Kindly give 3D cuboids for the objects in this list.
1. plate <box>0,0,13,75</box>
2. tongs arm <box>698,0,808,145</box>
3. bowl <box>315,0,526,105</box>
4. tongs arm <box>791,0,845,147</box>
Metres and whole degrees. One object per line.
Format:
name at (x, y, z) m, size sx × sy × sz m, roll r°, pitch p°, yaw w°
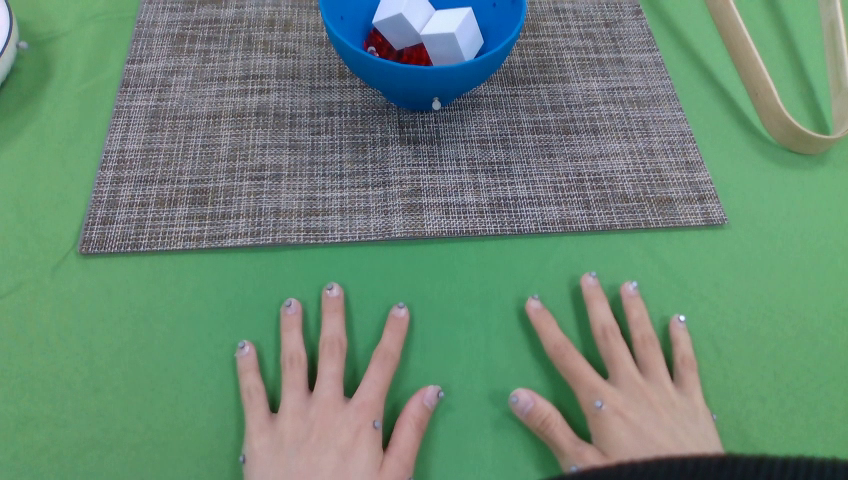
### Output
plate at (-0.420, -0.134, 0.456) m, size 0.209 × 0.038 × 0.207 m, roll 2°, pitch 59°, yaw -2°
tongs arm at (0.244, -0.256, 0.532) m, size 0.028 × 0.028 × 0.384 m, roll -8°, pitch 71°, yaw -12°
bowl at (-0.004, -0.159, 0.466) m, size 0.151 × 0.077 × 0.150 m, roll 2°, pitch 58°, yaw -2°
tongs arm at (0.332, -0.256, 0.538) m, size 0.051 × 0.026 × 0.382 m, roll 6°, pitch 70°, yaw -4°
